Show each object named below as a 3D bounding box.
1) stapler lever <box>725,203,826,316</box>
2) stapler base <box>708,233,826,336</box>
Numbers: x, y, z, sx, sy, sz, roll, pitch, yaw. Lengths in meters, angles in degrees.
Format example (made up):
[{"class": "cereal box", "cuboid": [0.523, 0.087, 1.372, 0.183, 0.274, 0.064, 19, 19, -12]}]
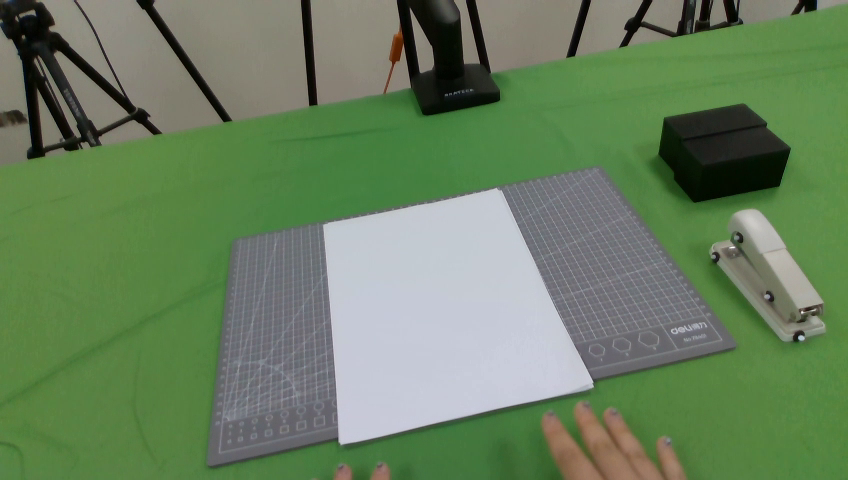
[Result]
[{"class": "stapler lever", "cuboid": [0.310, 0.013, 0.538, 0.027, 0.040, 0.116, -14, 43, -3]}, {"class": "stapler base", "cuboid": [0.312, 0.031, 0.557, 0.041, 0.025, 0.129, -13, 42, -3]}]
